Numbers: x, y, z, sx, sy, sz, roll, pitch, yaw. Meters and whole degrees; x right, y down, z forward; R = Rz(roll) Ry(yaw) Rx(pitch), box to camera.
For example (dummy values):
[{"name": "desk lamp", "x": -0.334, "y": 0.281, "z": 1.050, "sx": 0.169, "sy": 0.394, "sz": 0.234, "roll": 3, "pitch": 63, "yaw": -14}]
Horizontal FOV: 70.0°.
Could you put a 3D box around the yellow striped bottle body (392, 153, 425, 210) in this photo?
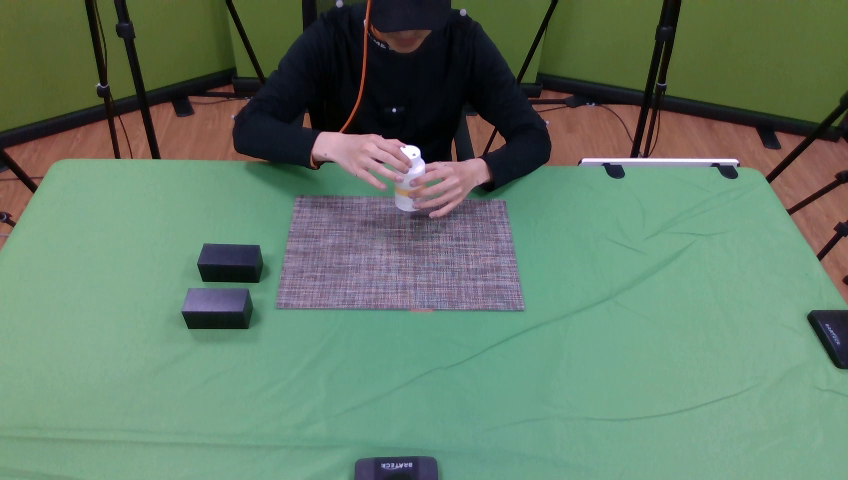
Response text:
[{"name": "yellow striped bottle body", "x": -0.030, "y": -0.122, "z": 1.181, "sx": 0.063, "sy": 0.121, "sz": 0.062, "roll": 0, "pitch": 45, "yaw": 0}]

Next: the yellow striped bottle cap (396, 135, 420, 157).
[{"name": "yellow striped bottle cap", "x": -0.031, "y": -0.174, "z": 1.122, "sx": 0.044, "sy": 0.019, "sz": 0.044, "roll": 4, "pitch": 51, "yaw": -4}]
